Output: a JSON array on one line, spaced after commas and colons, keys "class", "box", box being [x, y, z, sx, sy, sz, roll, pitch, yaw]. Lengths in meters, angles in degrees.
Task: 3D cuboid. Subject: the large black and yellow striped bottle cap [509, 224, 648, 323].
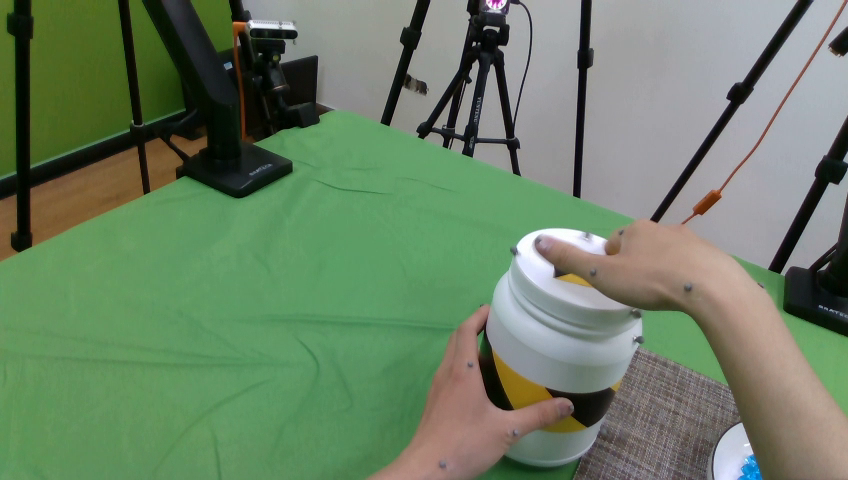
[{"class": "large black and yellow striped bottle cap", "box": [0.129, 0.024, 0.507, 0.115, 0.019, 0.114, 7, 35, -5]}]

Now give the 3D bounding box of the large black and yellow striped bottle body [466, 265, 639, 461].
[{"class": "large black and yellow striped bottle body", "box": [0.116, 0.096, 0.555, 0.131, 0.185, 0.129, 7, 35, -4]}]

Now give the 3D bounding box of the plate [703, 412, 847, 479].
[{"class": "plate", "box": [0.344, 0.244, 0.526, 0.208, 0.039, 0.205, 7, 34, -5]}]
